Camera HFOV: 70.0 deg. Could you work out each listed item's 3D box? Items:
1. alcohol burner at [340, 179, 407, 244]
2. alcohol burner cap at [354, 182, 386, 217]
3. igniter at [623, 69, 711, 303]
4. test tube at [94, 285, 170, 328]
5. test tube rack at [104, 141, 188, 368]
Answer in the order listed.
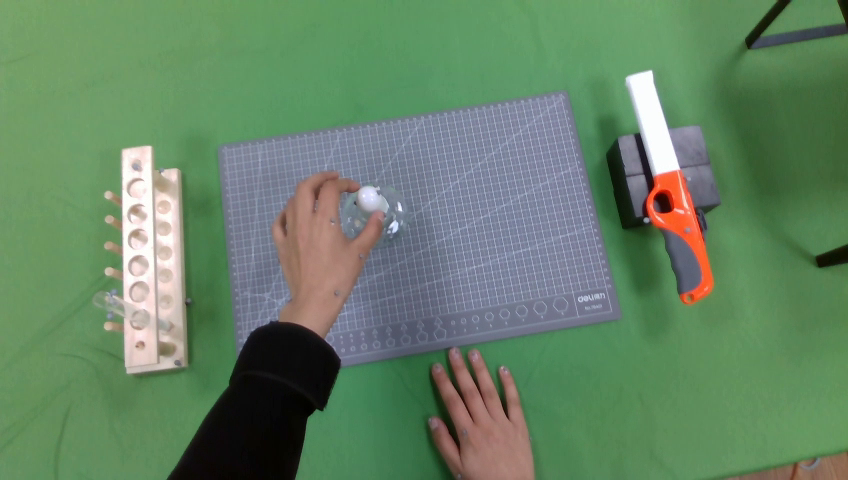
[{"bbox_3d":[-0.058,-0.037,0.684,0.078,0.119,0.077,0,78,1],"label":"alcohol burner"},{"bbox_3d":[-0.060,-0.046,0.649,0.034,0.048,0.033,-1,77,3],"label":"alcohol burner cap"},{"bbox_3d":[0.275,-0.066,0.689,0.057,0.025,0.275,-12,76,9],"label":"igniter"},{"bbox_3d":[-0.297,0.072,0.626,0.017,0.151,0.017,0,72,-1],"label":"test tube"},{"bbox_3d":[-0.322,0.019,0.689,0.067,0.085,0.241,-7,77,-2],"label":"test tube rack"}]
